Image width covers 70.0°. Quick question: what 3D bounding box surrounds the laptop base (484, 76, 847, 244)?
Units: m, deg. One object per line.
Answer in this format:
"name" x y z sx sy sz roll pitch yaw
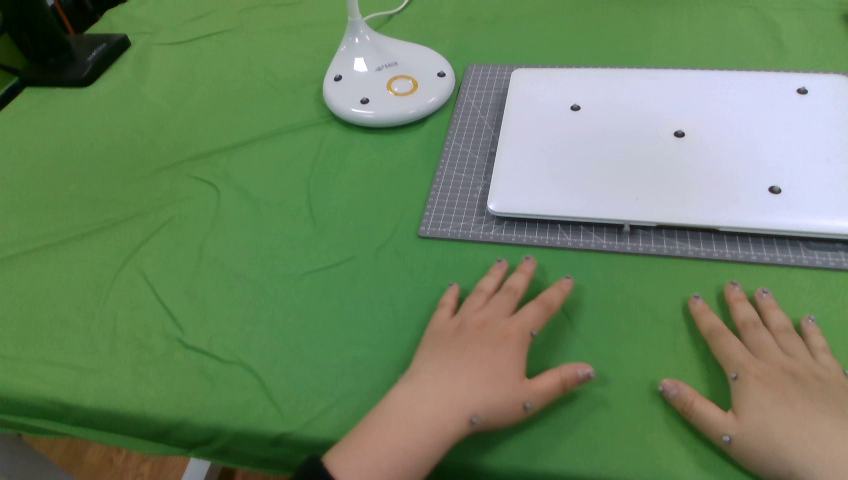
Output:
"laptop base" 0.249 -0.087 0.605 0.353 0.023 0.233 4 50 12

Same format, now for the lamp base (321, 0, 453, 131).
"lamp base" -0.061 -0.241 0.683 0.160 0.182 0.177 -33 48 -22

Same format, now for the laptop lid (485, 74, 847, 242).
"laptop lid" 0.247 -0.094 0.595 0.356 0.013 0.240 5 50 13
